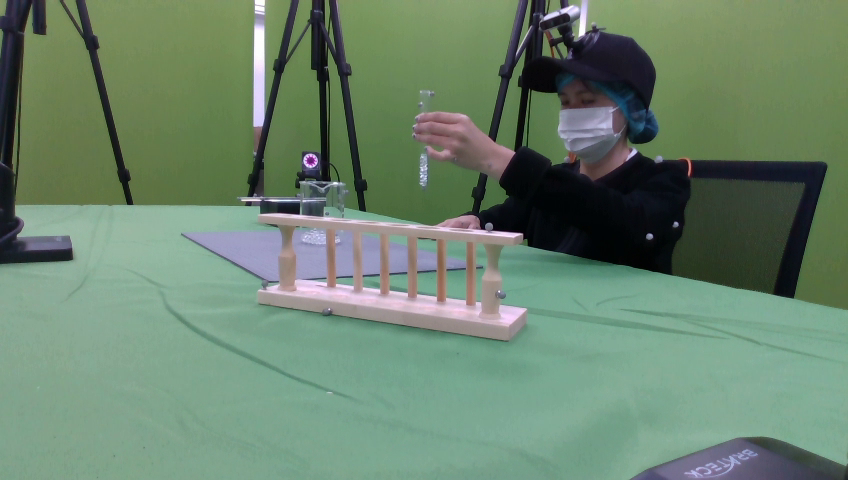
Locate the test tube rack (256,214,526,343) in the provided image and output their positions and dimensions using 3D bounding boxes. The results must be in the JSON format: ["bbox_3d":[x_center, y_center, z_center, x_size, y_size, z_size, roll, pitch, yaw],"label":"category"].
[{"bbox_3d":[-0.032,0.027,0.547,0.241,0.085,0.067,6,7,22],"label":"test tube rack"}]

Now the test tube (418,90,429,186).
[{"bbox_3d":[-0.001,-0.157,0.943,0.017,0.150,0.017,1,20,0],"label":"test tube"}]

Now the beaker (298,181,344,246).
[{"bbox_3d":[-0.166,-0.043,0.972,0.074,0.100,0.084,1,8,-10],"label":"beaker"}]

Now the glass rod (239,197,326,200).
[{"bbox_3d":[-0.287,-0.087,1.250,0.201,0.008,0.008,-4,10,-42],"label":"glass rod"}]
